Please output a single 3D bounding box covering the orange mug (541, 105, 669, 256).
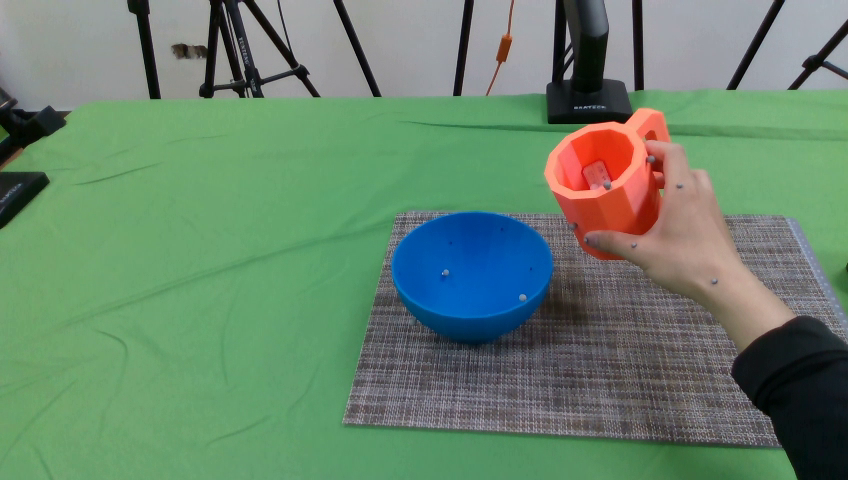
[{"bbox_3d":[0.175,-0.060,0.555,0.126,0.102,0.082,-52,44,-4],"label":"orange mug"}]

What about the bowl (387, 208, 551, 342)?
[{"bbox_3d":[0.044,0.044,0.582,0.151,0.077,0.150,-4,40,3],"label":"bowl"}]
